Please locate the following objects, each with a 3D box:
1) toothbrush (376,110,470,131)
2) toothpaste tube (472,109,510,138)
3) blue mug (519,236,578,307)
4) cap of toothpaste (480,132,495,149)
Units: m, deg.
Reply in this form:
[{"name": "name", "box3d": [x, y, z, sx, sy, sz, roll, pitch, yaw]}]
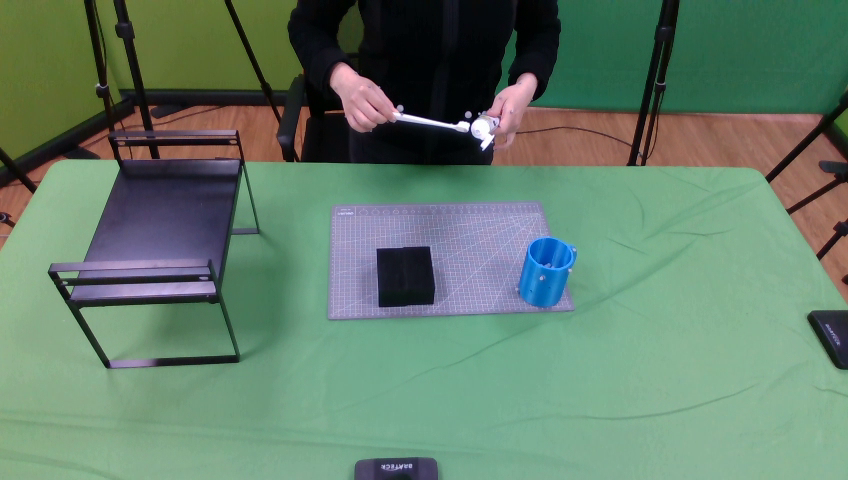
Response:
[{"name": "toothbrush", "box3d": [-0.003, -0.217, 1.083, 0.181, 0.014, 0.016, 13, 62, 20]}, {"name": "toothpaste tube", "box3d": [0.124, -0.224, 1.141, 0.055, 0.034, 0.164, 21, 28, 9]}, {"name": "blue mug", "box3d": [0.234, 0.052, 1.102, 0.116, 0.106, 0.082, -23, 52, -24]}, {"name": "cap of toothpaste", "box3d": [0.111, -0.177, 1.064, 0.011, 0.037, 0.037, 37, 49, -9]}]
